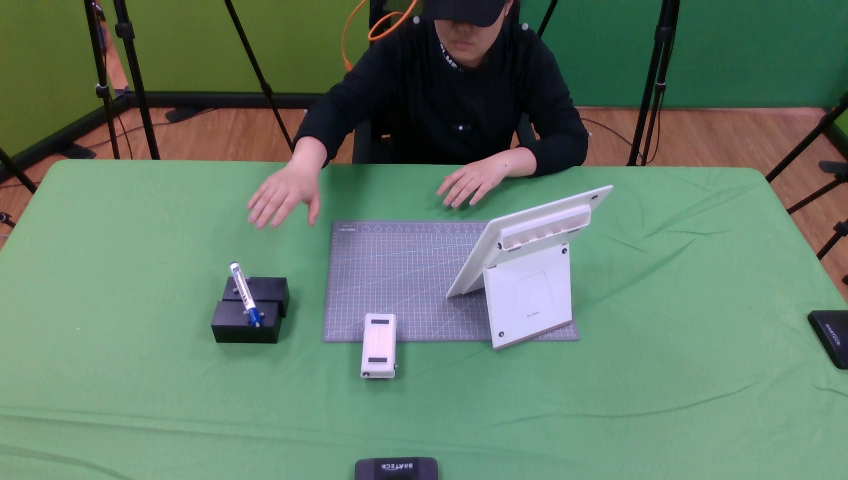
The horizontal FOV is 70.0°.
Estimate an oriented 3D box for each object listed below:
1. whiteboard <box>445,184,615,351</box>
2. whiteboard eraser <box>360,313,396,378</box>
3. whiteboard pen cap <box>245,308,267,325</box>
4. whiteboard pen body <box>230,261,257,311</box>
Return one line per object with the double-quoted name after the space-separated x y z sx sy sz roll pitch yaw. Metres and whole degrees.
0.186 0.065 0.989 0.217 0.306 0.143 -15 68 -18 "whiteboard"
-0.075 0.176 1.006 0.055 0.042 0.112 3 50 -4 "whiteboard eraser"
-0.273 0.126 0.987 0.033 0.018 0.018 30 49 0 "whiteboard pen cap"
-0.303 0.086 1.025 0.017 0.017 0.140 -18 50 -20 "whiteboard pen body"
